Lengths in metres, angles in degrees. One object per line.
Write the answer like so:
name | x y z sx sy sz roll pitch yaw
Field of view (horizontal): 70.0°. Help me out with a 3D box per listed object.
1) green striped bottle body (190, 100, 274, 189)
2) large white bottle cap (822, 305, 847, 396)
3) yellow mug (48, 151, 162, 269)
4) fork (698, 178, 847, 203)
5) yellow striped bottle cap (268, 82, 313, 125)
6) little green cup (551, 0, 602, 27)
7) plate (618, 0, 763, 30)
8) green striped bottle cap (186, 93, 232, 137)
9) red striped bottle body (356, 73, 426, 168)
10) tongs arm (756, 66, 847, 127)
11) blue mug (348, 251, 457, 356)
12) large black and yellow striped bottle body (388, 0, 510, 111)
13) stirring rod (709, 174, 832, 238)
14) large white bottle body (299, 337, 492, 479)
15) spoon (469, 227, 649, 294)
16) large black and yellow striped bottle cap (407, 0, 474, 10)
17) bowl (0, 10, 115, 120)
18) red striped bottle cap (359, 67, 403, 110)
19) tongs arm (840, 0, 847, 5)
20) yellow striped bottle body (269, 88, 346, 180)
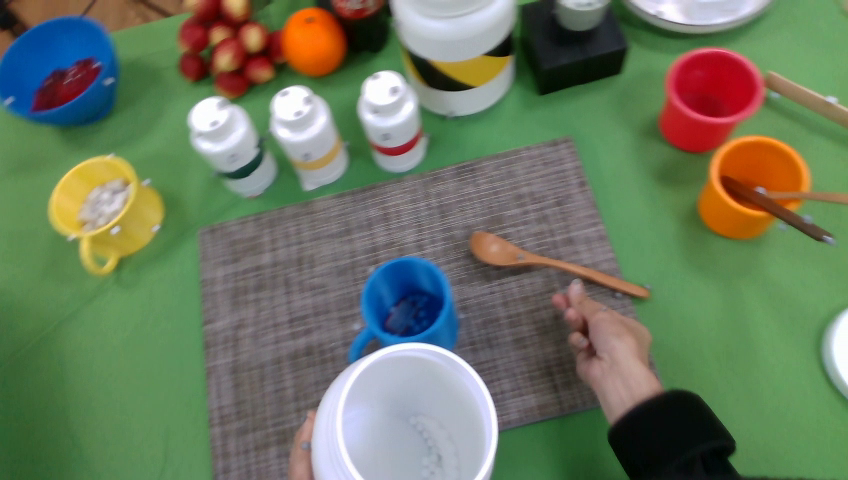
green striped bottle body | -0.218 -0.111 0.685 0.063 0.120 0.062 -2 67 5
large white bottle cap | 0.441 0.109 0.572 0.115 0.018 0.114 -2 67 6
yellow mug | -0.367 -0.030 0.697 0.100 0.064 0.130 -5 67 5
fork | 0.356 -0.043 0.574 0.028 0.019 0.206 -51 27 -14
yellow striped bottle cap | -0.139 -0.142 0.631 0.044 0.019 0.044 -1 63 2
little green cup | 0.176 -0.278 0.698 0.061 0.039 0.061 -2 64 4
plate | 0.330 -0.344 0.763 0.209 0.038 0.207 -2 68 6
green striped bottle cap | -0.226 -0.132 0.637 0.044 0.020 0.044 -1 67 3
red striped bottle body | -0.037 -0.136 0.674 0.063 0.120 0.062 -4 66 8
tongs arm | 0.543 -0.099 0.637 0.382 0.027 0.050 37 72 18
blue mug | -0.024 0.078 0.588 0.116 0.106 0.081 -37 68 -9
large black and yellow striped bottle body | 0.030 -0.247 0.678 0.130 0.185 0.130 -2 67 6
stirring rod | 0.326 -0.037 0.582 0.014 0.006 0.174 -11 23 -1
large white bottle body | -0.026 0.158 0.468 0.131 0.185 0.129 7 59 -11
spoon | 0.140 0.024 0.636 0.193 0.022 0.041 15 42 11
large black and yellow striped bottle cap | 0.021 -0.280 0.599 0.115 0.019 0.114 -3 69 8
bowl | -0.457 -0.207 0.775 0.151 0.077 0.150 -2 67 5
red striped bottle cap | -0.045 -0.157 0.626 0.044 0.018 0.044 -1 65 2
tongs arm | 0.609 -0.157 0.658 0.028 0.028 0.384 -31 67 -14
yellow striped bottle body | -0.132 -0.123 0.679 0.063 0.121 0.062 -3 66 6
